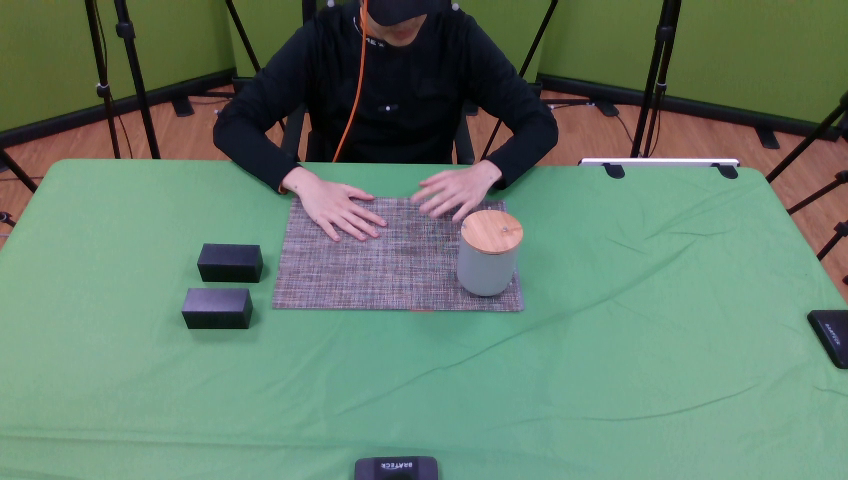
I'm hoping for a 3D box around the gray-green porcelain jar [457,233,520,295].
[{"bbox_3d":[0.115,0.030,1.099,0.106,0.127,0.105,2,46,-2],"label":"gray-green porcelain jar"}]

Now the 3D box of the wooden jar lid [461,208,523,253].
[{"bbox_3d":[0.118,-0.013,1.054,0.108,0.021,0.107,0,44,0],"label":"wooden jar lid"}]
